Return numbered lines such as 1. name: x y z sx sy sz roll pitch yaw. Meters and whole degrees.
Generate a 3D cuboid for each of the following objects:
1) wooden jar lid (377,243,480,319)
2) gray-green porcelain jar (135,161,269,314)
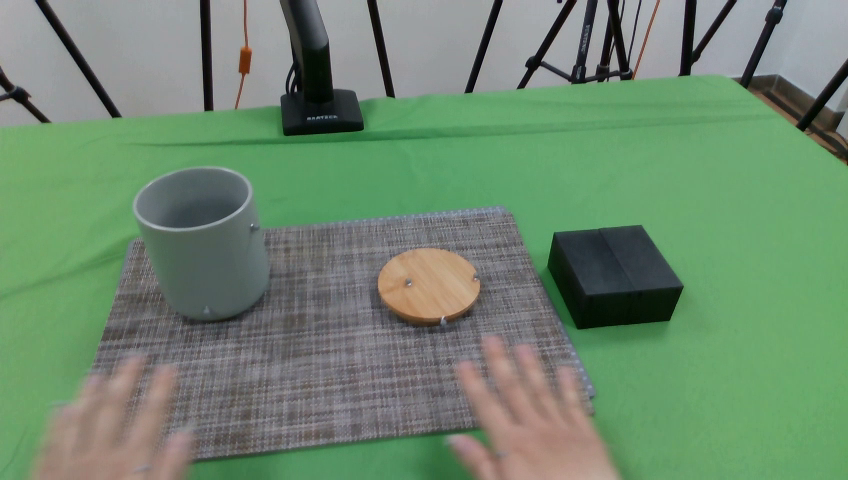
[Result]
1. wooden jar lid: 0.005 0.044 0.641 0.108 0.021 0.107 2 41 -2
2. gray-green porcelain jar: -0.212 0.002 0.599 0.106 0.127 0.105 1 40 -1
